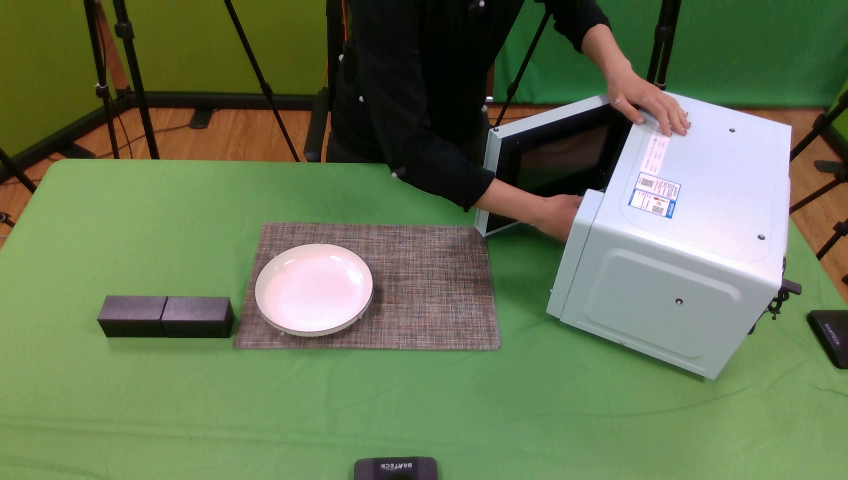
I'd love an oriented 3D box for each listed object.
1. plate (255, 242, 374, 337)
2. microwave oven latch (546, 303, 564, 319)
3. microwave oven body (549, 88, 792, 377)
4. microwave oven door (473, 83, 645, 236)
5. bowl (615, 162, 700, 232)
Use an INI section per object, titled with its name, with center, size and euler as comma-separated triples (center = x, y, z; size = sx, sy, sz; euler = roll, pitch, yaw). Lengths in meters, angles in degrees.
[plate]
center = -0.192, 0.090, 1.079
size = 0.208, 0.039, 0.206
euler = 2, 46, -2
[microwave oven latch]
center = 0.242, 0.102, 1.081
size = 0.030, 0.029, 0.079
euler = 22, 48, 17
[microwave oven body]
center = 0.456, -0.028, 1.088
size = 0.325, 0.261, 0.440
euler = 20, 47, 16
[microwave oven door]
center = 0.267, -0.160, 1.194
size = 0.356, 0.245, 0.039
euler = -21, 51, -22
[bowl]
center = 0.435, -0.069, 1.150
size = 0.151, 0.077, 0.150
euler = -4, 50, 5
